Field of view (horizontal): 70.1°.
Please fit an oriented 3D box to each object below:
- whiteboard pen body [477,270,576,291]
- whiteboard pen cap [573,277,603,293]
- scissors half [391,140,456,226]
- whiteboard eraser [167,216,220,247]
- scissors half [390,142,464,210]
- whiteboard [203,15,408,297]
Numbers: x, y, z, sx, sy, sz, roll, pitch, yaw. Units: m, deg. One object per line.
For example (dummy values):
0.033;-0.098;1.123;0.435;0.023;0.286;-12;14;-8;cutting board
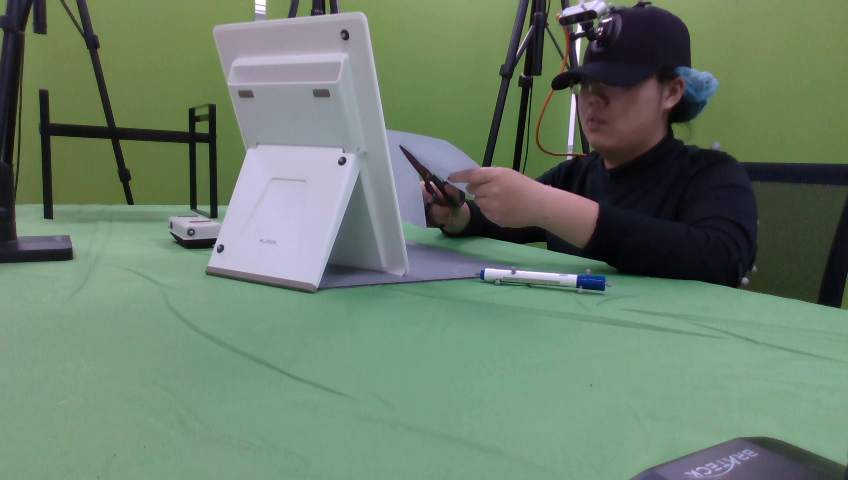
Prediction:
0.131;0.048;0.706;0.140;0.017;0.017;4;7;18;whiteboard pen body
0.186;0.051;0.687;0.033;0.018;0.018;4;8;17;whiteboard pen cap
-0.002;-0.090;0.978;0.013;0.175;0.040;-12;32;46;scissors half
-0.350;-0.013;0.920;0.056;0.042;0.112;0;7;-35;whiteboard eraser
0.007;-0.106;0.988;0.176;0.040;0.012;35;-26;-33;scissors half
-0.166;-0.072;0.668;0.216;0.305;0.144;8;30;30;whiteboard
